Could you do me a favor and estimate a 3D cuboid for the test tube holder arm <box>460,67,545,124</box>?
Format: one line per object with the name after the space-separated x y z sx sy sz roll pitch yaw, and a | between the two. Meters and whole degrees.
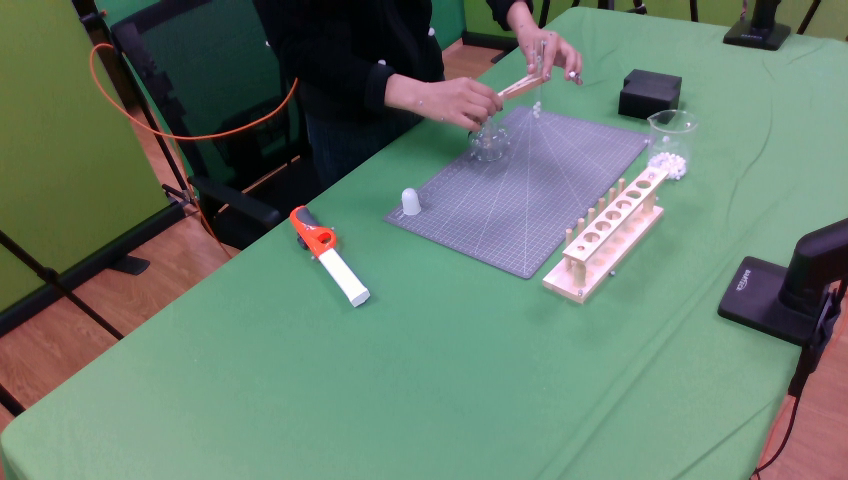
0.133 -0.241 1.005 0.179 0.015 0.013 -33 50 -15 | test tube holder arm

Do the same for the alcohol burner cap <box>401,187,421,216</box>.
-0.025 -0.070 1.048 0.034 0.048 0.033 -5 41 5 | alcohol burner cap

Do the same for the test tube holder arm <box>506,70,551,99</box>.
0.173 -0.260 1.012 0.088 0.015 0.010 -26 49 -10 | test tube holder arm

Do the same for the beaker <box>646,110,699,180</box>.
0.417 -0.160 1.032 0.083 0.101 0.074 25 51 35 | beaker

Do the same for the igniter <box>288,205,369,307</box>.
-0.163 0.018 0.986 0.057 0.025 0.274 -33 45 -12 | igniter

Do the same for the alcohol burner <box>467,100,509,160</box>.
0.118 -0.210 1.130 0.078 0.120 0.077 -6 42 6 | alcohol burner

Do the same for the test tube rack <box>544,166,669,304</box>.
0.274 -0.018 0.903 0.066 0.085 0.243 26 51 35 | test tube rack

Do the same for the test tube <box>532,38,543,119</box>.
0.192 -0.270 1.023 0.017 0.151 0.017 -5 46 5 | test tube
